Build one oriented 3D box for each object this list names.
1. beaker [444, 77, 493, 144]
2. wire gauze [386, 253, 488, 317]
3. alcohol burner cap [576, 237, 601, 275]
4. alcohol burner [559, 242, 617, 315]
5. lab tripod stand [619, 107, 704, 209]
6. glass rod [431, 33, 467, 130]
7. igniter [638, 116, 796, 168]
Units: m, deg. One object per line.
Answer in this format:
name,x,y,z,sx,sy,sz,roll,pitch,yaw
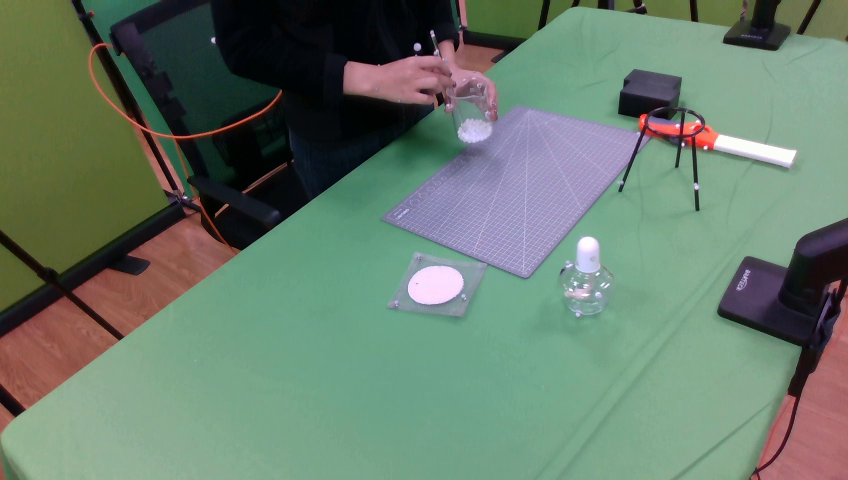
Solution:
beaker,0.086,-0.232,1.093,0.074,0.101,0.083,-38,45,-23
wire gauze,0.021,0.067,0.910,0.121,0.011,0.125,9,41,20
alcohol burner cap,0.216,0.018,0.793,0.034,0.048,0.033,-7,35,6
alcohol burner,0.222,0.045,0.816,0.078,0.119,0.077,-4,42,4
lab tripod stand,0.400,-0.136,0.981,0.148,0.132,0.147,-4,41,4
glass rod,0.046,-0.273,1.064,0.008,0.201,0.008,-13,43,13
igniter,0.517,-0.181,1.093,0.274,0.025,0.057,23,65,32
